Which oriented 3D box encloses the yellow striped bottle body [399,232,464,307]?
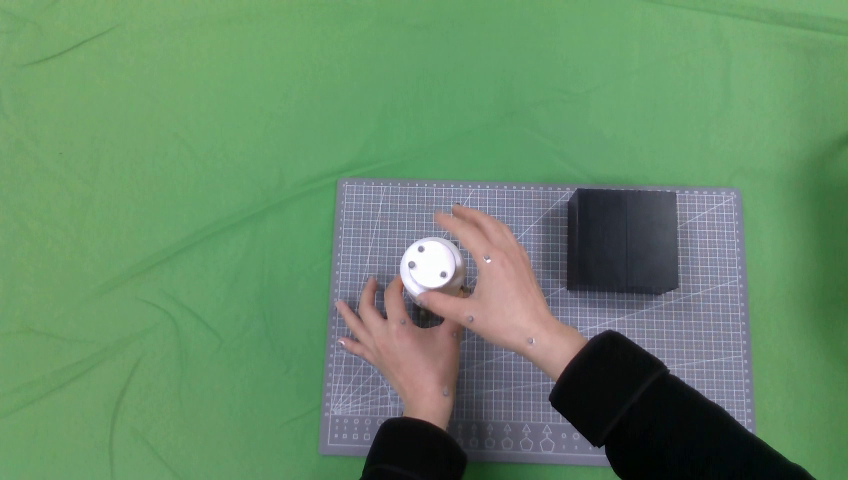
[{"bbox_3d":[0.008,0.030,0.602,0.063,0.121,0.062,0,78,2],"label":"yellow striped bottle body"}]

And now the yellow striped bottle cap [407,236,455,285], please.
[{"bbox_3d":[0.006,0.018,0.551,0.044,0.019,0.044,0,80,3],"label":"yellow striped bottle cap"}]
